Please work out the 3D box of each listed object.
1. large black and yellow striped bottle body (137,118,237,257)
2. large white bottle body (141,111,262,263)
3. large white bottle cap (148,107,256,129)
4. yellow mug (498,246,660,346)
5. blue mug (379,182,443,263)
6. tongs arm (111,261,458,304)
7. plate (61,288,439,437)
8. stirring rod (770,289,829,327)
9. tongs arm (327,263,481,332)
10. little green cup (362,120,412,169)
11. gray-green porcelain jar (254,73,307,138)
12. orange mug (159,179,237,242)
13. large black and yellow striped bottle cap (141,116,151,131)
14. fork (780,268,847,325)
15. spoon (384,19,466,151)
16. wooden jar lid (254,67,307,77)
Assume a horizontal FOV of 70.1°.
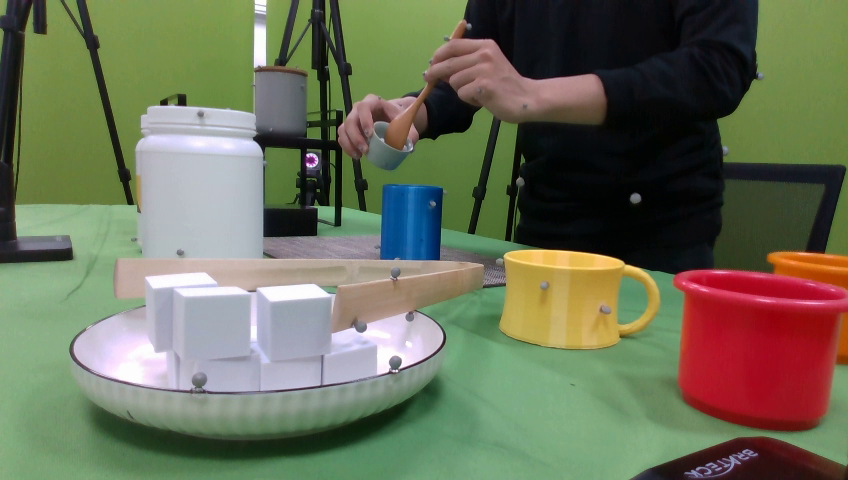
[{"bbox_3d":[-0.330,-0.075,0.849,0.131,0.184,0.130,2,8,0],"label":"large black and yellow striped bottle body"},{"bbox_3d":[-0.254,-0.053,0.697,0.131,0.184,0.130,2,7,0],"label":"large white bottle body"},{"bbox_3d":[-0.250,-0.137,0.686,0.115,0.018,0.115,2,8,0],"label":"large white bottle cap"},{"bbox_3d":[0.130,0.045,0.508,0.131,0.064,0.100,4,7,6],"label":"yellow mug"},{"bbox_3d":[-0.019,-0.026,0.832,0.082,0.106,0.116,1,7,-5],"label":"blue mug"},{"bbox_3d":[-0.080,0.032,0.527,0.028,0.027,0.389,-3,-3,33],"label":"tongs arm"},{"bbox_3d":[-0.095,0.069,0.362,0.208,0.039,0.207,3,7,0],"label":"plate"},{"bbox_3d":[0.349,0.022,0.468,0.014,0.006,0.175,-12,-26,-50],"label":"stirring rod"},{"bbox_3d":[-0.003,0.036,0.493,0.050,0.026,0.386,1,0,19],"label":"tongs arm"},{"bbox_3d":[-0.052,-0.127,0.817,0.062,0.038,0.061,27,35,-20],"label":"little green cup"},{"bbox_3d":[-0.298,-0.277,1.259,0.106,0.126,0.106,3,8,0],"label":"gray-green porcelain jar"},{"bbox_3d":[-0.368,-0.051,0.991,0.127,0.101,0.083,-10,14,-41],"label":"orange mug"},{"bbox_3d":[-0.328,-0.158,0.837,0.115,0.019,0.115,2,6,0],"label":"large black and yellow striped bottle cap"},{"bbox_3d":[0.324,0.018,0.441,0.028,0.018,0.207,-3,-36,-5],"label":"fork"},{"bbox_3d":[0.000,-0.197,0.783,0.022,0.193,0.041,15,24,-52],"label":"spoon"},{"bbox_3d":[-0.296,-0.339,1.251,0.108,0.020,0.108,1,7,0],"label":"wooden jar lid"}]
